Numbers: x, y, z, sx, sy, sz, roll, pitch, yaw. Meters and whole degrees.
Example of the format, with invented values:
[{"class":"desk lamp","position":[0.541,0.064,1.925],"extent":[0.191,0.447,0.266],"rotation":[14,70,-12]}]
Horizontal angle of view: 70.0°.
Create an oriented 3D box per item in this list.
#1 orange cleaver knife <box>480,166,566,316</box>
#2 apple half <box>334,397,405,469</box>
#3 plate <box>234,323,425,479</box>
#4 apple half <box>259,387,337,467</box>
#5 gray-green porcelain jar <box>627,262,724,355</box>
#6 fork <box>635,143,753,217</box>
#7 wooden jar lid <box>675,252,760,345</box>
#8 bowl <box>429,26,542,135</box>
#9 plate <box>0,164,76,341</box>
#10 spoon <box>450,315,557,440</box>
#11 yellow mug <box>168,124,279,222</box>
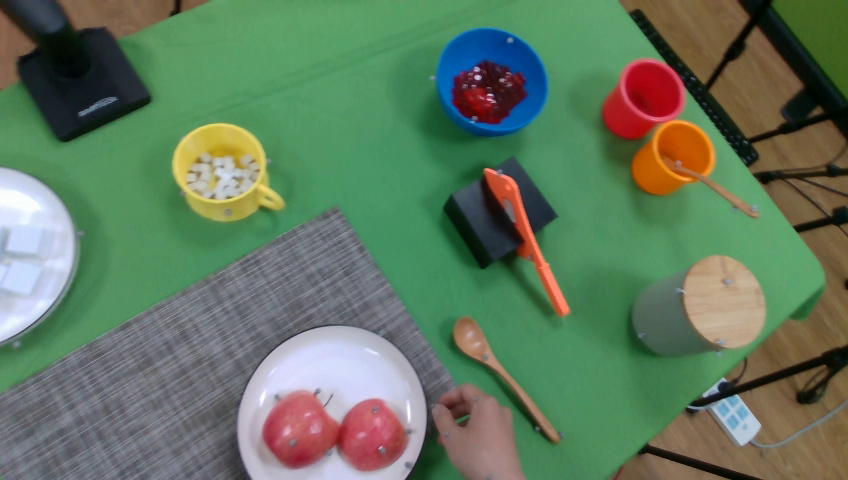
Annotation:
[{"class":"orange cleaver knife","position":[0.124,0.002,0.766],"extent":[0.012,0.076,0.212],"rotation":[-31,106,-14]},{"class":"apple half","position":[-0.061,0.218,0.678],"extent":[0.081,0.033,0.081],"rotation":[3,71,-8]},{"class":"plate","position":[-0.105,0.199,0.681],"extent":[0.210,0.038,0.208],"rotation":[3,74,-11]},{"class":"apple half","position":[-0.138,0.203,0.657],"extent":[0.074,0.053,0.080],"rotation":[-35,84,-16]},{"class":"gray-green porcelain jar","position":[0.326,0.087,0.760],"extent":[0.106,0.127,0.105],"rotation":[3,73,-10]},{"class":"fork","position":[0.352,-0.083,0.802],"extent":[0.028,0.019,0.205],"rotation":[-17,34,-15]},{"class":"wooden jar lid","position":[0.337,0.069,0.701],"extent":[0.109,0.021,0.108],"rotation":[3,75,-12]},{"class":"bowl","position":[0.074,-0.200,0.816],"extent":[0.152,0.077,0.150],"rotation":[3,74,-11]},{"class":"plate","position":[-0.489,0.017,0.658],"extent":[0.208,0.039,0.206],"rotation":[3,74,-11]},{"class":"spoon","position":[0.098,0.171,0.743],"extent":[0.193,0.022,0.041],"rotation":[48,49,5]},{"class":"yellow mug","position":[-0.232,-0.072,0.722],"extent":[0.131,0.064,0.099],"rotation":[29,69,-3]}]
